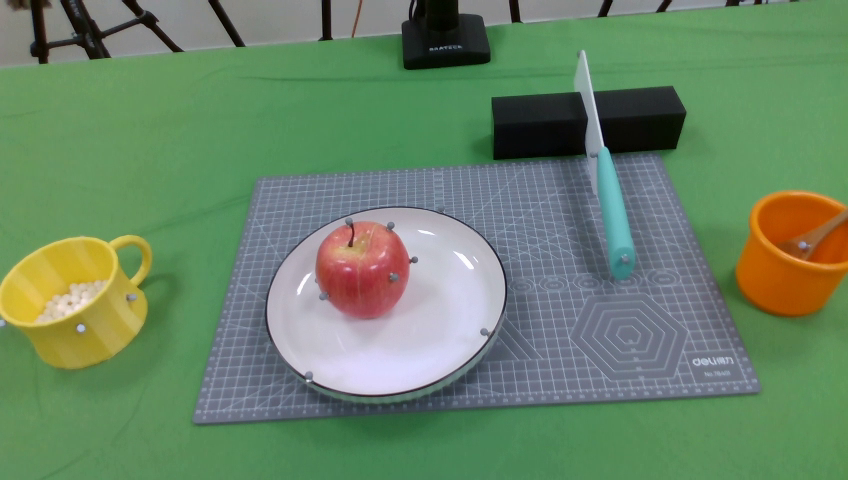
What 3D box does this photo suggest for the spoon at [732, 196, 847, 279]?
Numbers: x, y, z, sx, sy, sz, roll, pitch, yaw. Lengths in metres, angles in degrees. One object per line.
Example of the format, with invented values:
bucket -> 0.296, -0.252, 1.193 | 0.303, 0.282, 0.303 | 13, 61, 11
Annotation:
spoon -> 0.346, -0.026, 0.496 | 0.022, 0.194, 0.041 | 28, 36, -30

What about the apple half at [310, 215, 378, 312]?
apple half -> -0.069, 0.020, 0.523 | 0.053, 0.075, 0.080 | 4, 51, 14

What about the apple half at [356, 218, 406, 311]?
apple half -> -0.031, 0.023, 0.516 | 0.032, 0.082, 0.080 | 2, 48, 14

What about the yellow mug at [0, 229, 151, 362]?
yellow mug -> -0.302, 0.039, 0.545 | 0.099, 0.064, 0.130 | 24, 53, 24

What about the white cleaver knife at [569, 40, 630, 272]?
white cleaver knife -> 0.174, -0.092, 0.620 | 0.021, 0.066, 0.284 | -2, 58, 5

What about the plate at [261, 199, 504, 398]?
plate -> -0.035, 0.048, 0.531 | 0.209, 0.038, 0.207 | -2, 48, 3
